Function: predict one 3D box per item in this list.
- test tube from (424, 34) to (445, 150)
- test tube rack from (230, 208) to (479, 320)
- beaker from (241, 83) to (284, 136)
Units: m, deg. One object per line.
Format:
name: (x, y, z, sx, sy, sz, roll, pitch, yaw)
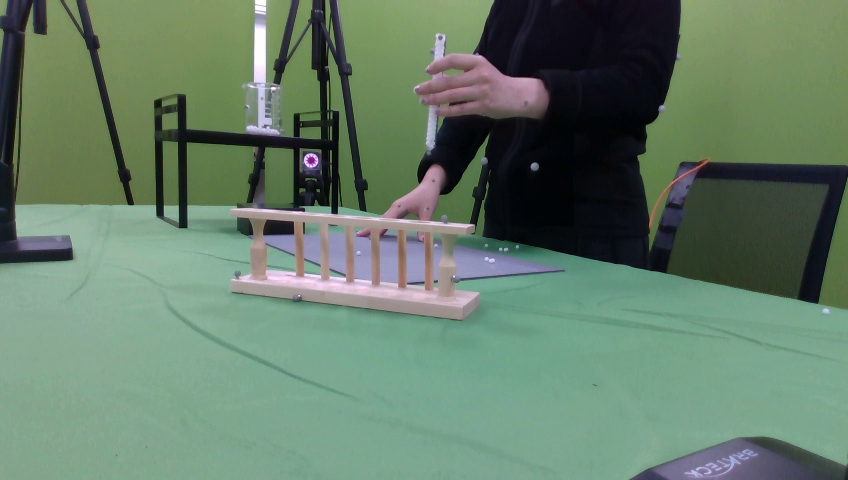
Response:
test tube: (0.014, -0.196, 0.806, 0.017, 0.150, 0.017, 5, 10, -1)
test tube rack: (-0.069, 0.017, 0.598, 0.242, 0.085, 0.067, 5, 8, 18)
beaker: (-0.323, -0.260, 1.208, 0.084, 0.100, 0.073, -4, 9, -37)
